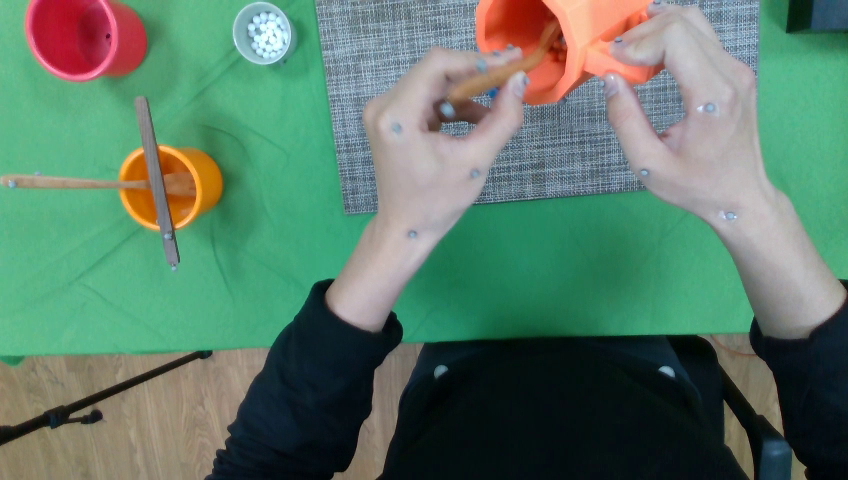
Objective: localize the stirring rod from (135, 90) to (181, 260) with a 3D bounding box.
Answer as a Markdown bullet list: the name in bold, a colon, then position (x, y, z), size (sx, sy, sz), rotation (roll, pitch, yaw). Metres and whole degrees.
- **stirring rod**: position (-0.275, -0.065, 0.627), size (0.014, 0.006, 0.177), rotation (-4, 103, 7)

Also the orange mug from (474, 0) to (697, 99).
- **orange mug**: position (0.109, -0.148, 0.405), size (0.125, 0.101, 0.084), rotation (38, 149, 33)

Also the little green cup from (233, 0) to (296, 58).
- **little green cup**: position (-0.165, -0.222, 0.637), size (0.061, 0.038, 0.062), rotation (1, 105, 6)

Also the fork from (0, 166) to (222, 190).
- **fork**: position (-0.317, -0.066, 0.633), size (0.208, 0.018, 0.028), rotation (-3, 116, -39)

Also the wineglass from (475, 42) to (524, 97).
- **wineglass**: position (0.083, -0.167, 0.557), size (0.073, 0.171, 0.074), rotation (1, 103, 5)

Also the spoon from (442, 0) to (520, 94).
- **spoon**: position (0.046, -0.134, 0.383), size (0.041, 0.192, 0.022), rotation (-20, 120, 33)
